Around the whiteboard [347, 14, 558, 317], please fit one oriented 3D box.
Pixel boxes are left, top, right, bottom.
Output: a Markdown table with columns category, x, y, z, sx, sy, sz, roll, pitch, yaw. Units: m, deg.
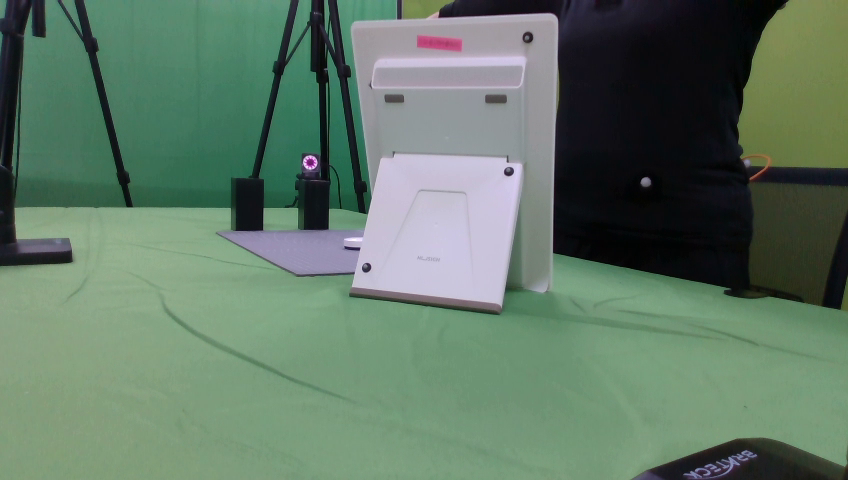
| category | x | y | z | sx | sy | sz | roll | pitch | yaw |
| --- | --- | --- | --- | --- | --- | --- | --- | --- | --- |
| whiteboard | 0.012 | -0.056 | 0.609 | 0.216 | 0.305 | 0.144 | 5 | 27 | 20 |

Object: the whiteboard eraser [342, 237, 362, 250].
| category | x | y | z | sx | sy | sz | roll | pitch | yaw |
| --- | --- | --- | --- | --- | --- | --- | --- | --- | --- |
| whiteboard eraser | -0.082 | 0.004 | 0.968 | 0.102 | 0.019 | 0.041 | 0 | 7 | -31 |
